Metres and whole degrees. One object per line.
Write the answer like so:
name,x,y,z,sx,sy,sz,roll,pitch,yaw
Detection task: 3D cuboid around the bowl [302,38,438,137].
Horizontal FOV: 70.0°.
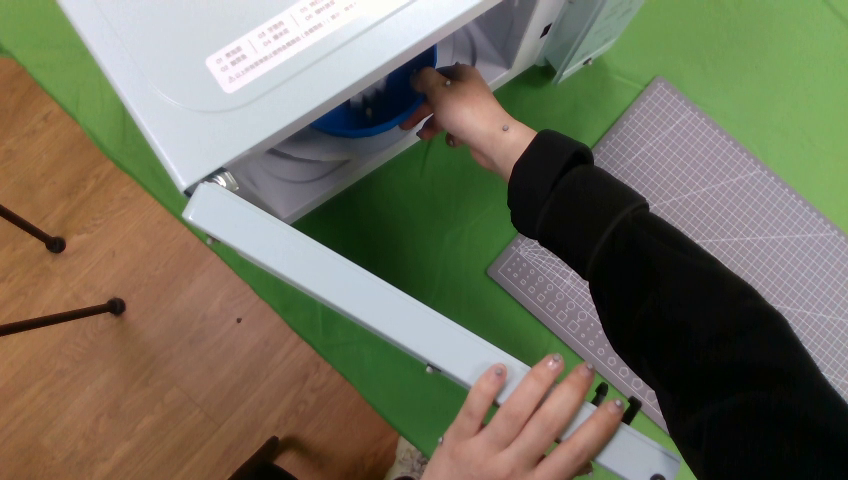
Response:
bowl,-0.063,-0.156,0.554,0.151,0.077,0.150,0,78,-2

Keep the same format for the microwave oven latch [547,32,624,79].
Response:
microwave oven latch,0.173,-0.207,0.650,0.079,0.029,0.030,-32,85,-6

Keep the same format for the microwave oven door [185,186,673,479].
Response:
microwave oven door,-0.001,0.078,0.500,0.355,0.244,0.039,30,81,2

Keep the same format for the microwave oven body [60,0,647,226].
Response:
microwave oven body,-0.054,-0.244,0.547,0.442,0.260,0.325,-34,85,-6
